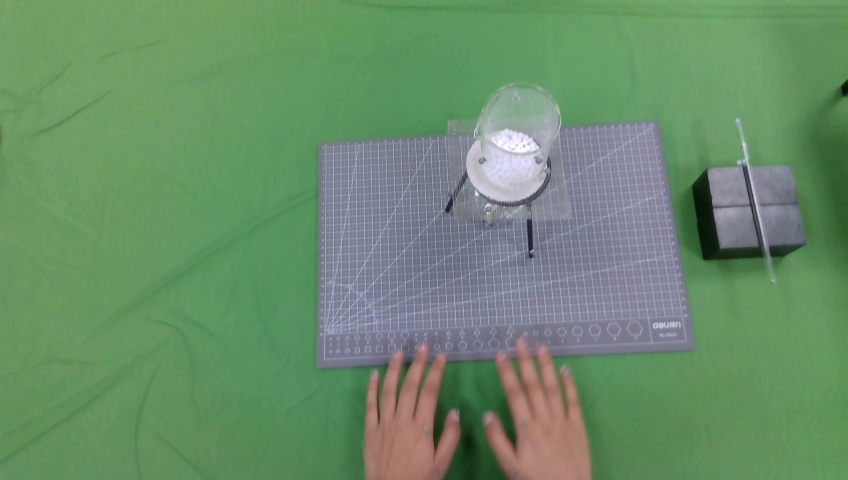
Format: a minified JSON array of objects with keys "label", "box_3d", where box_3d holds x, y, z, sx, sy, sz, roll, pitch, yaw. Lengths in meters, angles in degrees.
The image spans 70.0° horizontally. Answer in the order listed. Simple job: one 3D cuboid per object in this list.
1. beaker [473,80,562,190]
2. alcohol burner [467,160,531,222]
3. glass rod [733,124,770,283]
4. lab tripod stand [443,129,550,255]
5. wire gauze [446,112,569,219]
[{"label":"beaker","box_3d":[0.088,-0.097,0.601,0.084,0.101,0.073,-19,73,-3]},{"label":"alcohol burner","box_3d":[0.091,-0.064,0.721,0.078,0.120,0.077,0,75,2]},{"label":"glass rod","box_3d":[0.384,-0.046,0.711,0.008,0.008,0.198,-3,74,2]},{"label":"lab tripod stand","box_3d":[0.094,-0.064,0.710,0.148,0.132,0.147,-1,71,3]},{"label":"wire gauze","box_3d":[0.088,-0.079,0.646,0.125,0.011,0.121,-2,74,-1]}]
